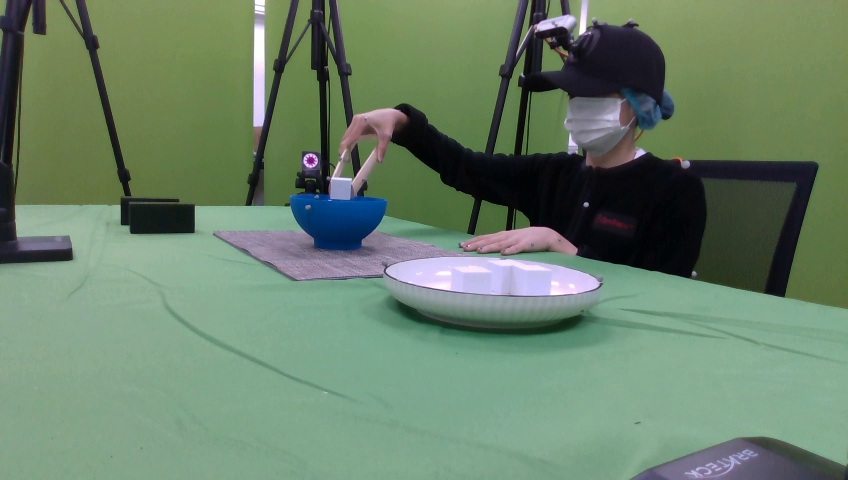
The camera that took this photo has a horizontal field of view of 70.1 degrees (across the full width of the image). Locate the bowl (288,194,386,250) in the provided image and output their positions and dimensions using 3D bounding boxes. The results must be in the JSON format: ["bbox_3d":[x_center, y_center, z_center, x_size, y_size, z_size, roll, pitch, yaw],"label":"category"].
[{"bbox_3d":[-0.135,-0.028,0.936,0.151,0.077,0.151,3,7,0],"label":"bowl"}]

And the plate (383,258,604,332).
[{"bbox_3d":[0.064,0.051,0.582,0.209,0.038,0.209,3,7,0],"label":"plate"}]

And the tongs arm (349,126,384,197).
[{"bbox_3d":[-0.105,-0.154,1.116,0.028,0.028,0.387,-1,23,4],"label":"tongs arm"}]

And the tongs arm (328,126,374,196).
[{"bbox_3d":[-0.128,-0.155,1.116,0.051,0.026,0.384,0,24,-1],"label":"tongs arm"}]
